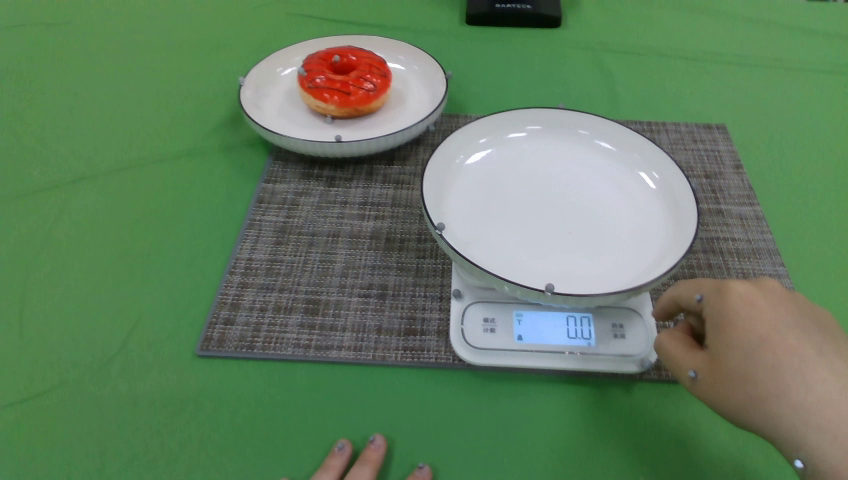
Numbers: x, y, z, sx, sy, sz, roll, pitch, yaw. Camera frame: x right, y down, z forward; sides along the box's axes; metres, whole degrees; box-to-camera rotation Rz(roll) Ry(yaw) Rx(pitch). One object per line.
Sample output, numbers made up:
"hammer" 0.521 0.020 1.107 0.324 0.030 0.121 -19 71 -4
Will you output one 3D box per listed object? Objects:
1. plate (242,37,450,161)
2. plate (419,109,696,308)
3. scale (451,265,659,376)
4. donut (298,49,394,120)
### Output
"plate" -0.078 -0.143 0.623 0.209 0.038 0.207 0 45 1
"plate" 0.100 -0.027 0.474 0.208 0.039 0.205 1 48 0
"scale" 0.099 0.012 0.482 0.148 0.032 0.199 3 48 3
"donut" -0.079 -0.159 0.623 0.099 0.048 0.098 1 45 -1
